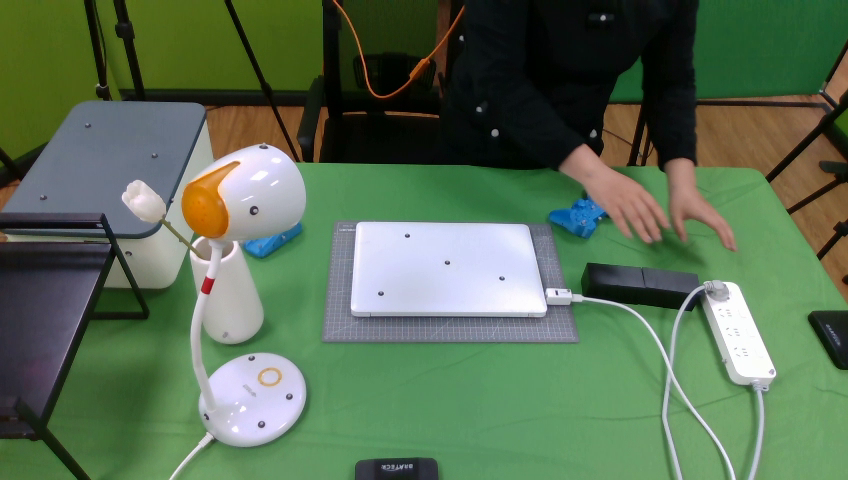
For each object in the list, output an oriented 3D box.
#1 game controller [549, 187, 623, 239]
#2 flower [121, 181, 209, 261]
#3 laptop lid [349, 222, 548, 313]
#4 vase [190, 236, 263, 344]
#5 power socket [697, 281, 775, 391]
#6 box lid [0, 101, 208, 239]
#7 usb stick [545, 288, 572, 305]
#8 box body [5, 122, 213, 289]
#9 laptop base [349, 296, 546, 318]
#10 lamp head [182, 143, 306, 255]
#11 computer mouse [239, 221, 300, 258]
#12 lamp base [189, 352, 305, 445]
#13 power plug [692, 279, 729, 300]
[{"bbox_3d":[0.346,-0.065,1.272,0.155,0.052,0.096,-30,58,-29],"label":"game controller"},{"bbox_3d":[-0.329,0.029,0.905,0.038,0.364,0.044,-22,58,-1],"label":"flower"},{"bbox_3d":[0.041,0.046,1.142,0.357,0.013,0.240,2,44,-3],"label":"laptop lid"},{"bbox_3d":[-0.317,0.081,0.971,0.098,0.201,0.097,3,47,-3],"label":"vase"},{"bbox_3d":[0.550,0.160,1.078,0.072,0.033,0.225,2,47,-1],"label":"power socket"},{"bbox_3d":[-0.559,-0.138,1.085,0.263,0.015,0.369,2,46,-2],"label":"box lid"},{"bbox_3d":[0.236,0.103,1.100,0.059,0.027,0.021,0,51,0],"label":"usb stick"},{"bbox_3d":[-0.563,-0.087,1.139,0.254,0.161,0.361,2,46,-3],"label":"box body"},{"bbox_3d":[0.041,0.056,1.149,0.355,0.023,0.234,1,42,-4],"label":"laptop base"},{"bbox_3d":[-0.215,-0.044,0.697,0.112,0.113,0.123,23,31,17],"label":"lamp head"},{"bbox_3d":[-0.300,-0.016,1.178,0.062,0.041,0.117,35,57,22],"label":"computer mouse"},{"bbox_3d":[-0.268,0.197,0.876,0.160,0.181,0.179,25,52,20],"label":"lamp base"},{"bbox_3d":[0.522,0.091,1.116,0.072,0.053,0.035,11,48,9],"label":"power plug"}]
